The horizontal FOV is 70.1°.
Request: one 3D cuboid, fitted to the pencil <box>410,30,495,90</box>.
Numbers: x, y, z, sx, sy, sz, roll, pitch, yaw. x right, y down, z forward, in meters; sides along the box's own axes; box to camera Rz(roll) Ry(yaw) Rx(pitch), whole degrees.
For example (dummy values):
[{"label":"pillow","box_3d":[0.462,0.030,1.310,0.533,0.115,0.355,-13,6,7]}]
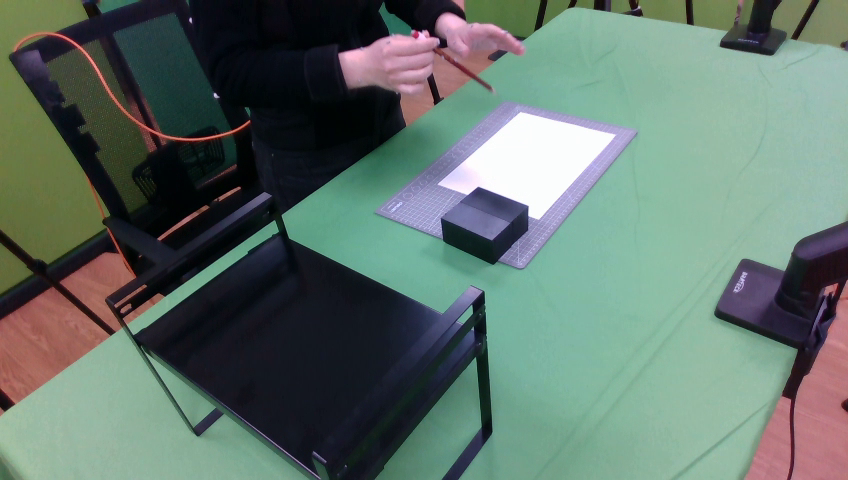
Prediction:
[{"label":"pencil","box_3d":[0.050,-0.270,0.921,0.196,0.012,0.012,20,19,-43]}]
